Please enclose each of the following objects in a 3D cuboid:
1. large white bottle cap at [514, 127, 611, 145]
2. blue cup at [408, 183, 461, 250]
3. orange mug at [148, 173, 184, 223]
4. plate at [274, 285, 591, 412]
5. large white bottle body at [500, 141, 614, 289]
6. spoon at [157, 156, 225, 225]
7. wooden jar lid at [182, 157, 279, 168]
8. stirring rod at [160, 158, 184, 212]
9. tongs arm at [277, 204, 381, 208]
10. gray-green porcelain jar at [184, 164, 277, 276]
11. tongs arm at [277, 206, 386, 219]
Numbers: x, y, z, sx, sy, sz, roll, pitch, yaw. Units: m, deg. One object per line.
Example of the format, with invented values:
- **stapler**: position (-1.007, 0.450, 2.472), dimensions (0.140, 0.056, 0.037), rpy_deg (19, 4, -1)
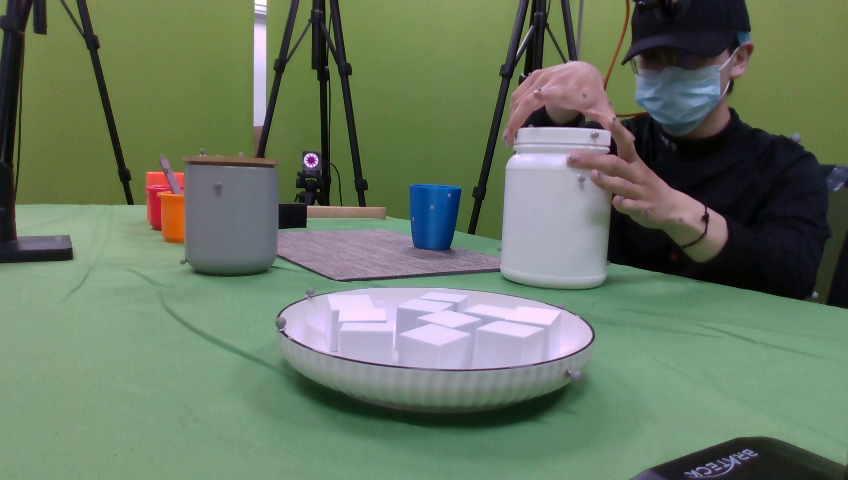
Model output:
- **large white bottle cap**: position (0.167, -0.125, 0.733), dimensions (0.115, 0.018, 0.115), rpy_deg (2, 8, 0)
- **blue cup**: position (0.015, -0.038, 0.969), dimensions (0.093, 0.100, 0.092), rpy_deg (3, 9, 0)
- **orange mug**: position (-0.490, -0.087, 1.222), dimensions (0.127, 0.101, 0.083), rpy_deg (-9, 13, -38)
- **plate**: position (0.005, 0.069, 0.408), dimensions (0.208, 0.039, 0.207), rpy_deg (2, 7, 0)
- **large white bottle body**: position (0.163, -0.041, 0.744), dimensions (0.131, 0.184, 0.130), rpy_deg (2, 7, 0)
- **spoon**: position (-0.425, -0.094, 1.117), dimensions (0.041, 0.022, 0.194), rpy_deg (5, 51, 29)
- **wooden jar lid**: position (-0.227, -0.086, 0.714), dimensions (0.108, 0.020, 0.108), rpy_deg (1, 6, 0)
- **stirring rod**: position (-0.391, -0.070, 0.972), dimensions (0.014, 0.006, 0.175), rpy_deg (-1, 50, -49)
- **tongs arm**: position (-0.288, -0.070, 1.435), dimensions (0.389, 0.027, 0.028), rpy_deg (1, 0, -18)
- **gray-green porcelain jar**: position (-0.230, -0.025, 0.722), dimensions (0.106, 0.126, 0.106), rpy_deg (3, 7, 0)
- **tongs arm**: position (-0.252, -0.062, 1.360), dimensions (0.387, 0.026, 0.050), rpy_deg (-1, 4, -31)
